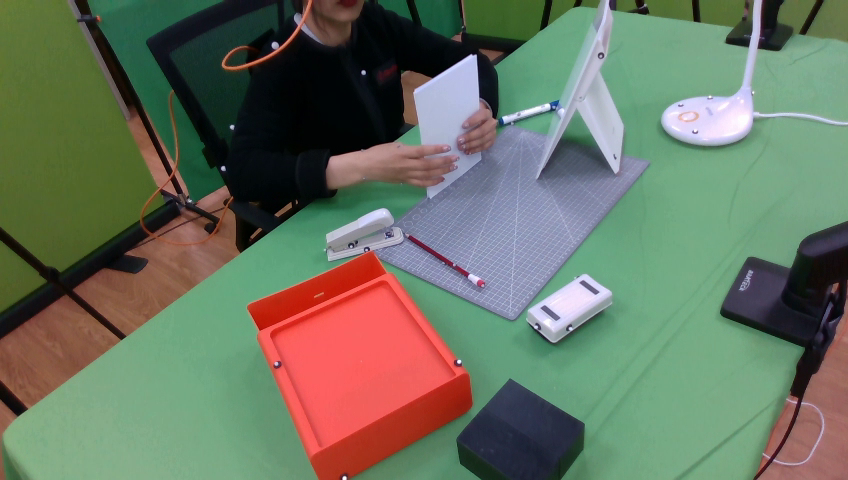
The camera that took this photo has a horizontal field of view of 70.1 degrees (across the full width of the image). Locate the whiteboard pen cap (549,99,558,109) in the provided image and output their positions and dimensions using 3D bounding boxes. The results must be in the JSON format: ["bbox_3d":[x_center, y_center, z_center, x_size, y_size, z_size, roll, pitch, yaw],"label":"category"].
[{"bbox_3d":[0.275,-0.286,1.267,0.033,0.018,0.018,-17,41,-12],"label":"whiteboard pen cap"}]

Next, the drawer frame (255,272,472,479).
[{"bbox_3d":[-0.079,0.161,0.760,0.202,0.083,0.211,-24,43,-18],"label":"drawer frame"}]

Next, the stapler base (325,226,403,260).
[{"bbox_3d":[-0.102,-0.002,0.998,0.131,0.024,0.041,-16,36,-3],"label":"stapler base"}]

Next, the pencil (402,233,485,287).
[{"bbox_3d":[0.026,0.028,0.949,0.012,0.012,0.192,-34,44,-26],"label":"pencil"}]

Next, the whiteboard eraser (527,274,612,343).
[{"bbox_3d":[0.198,0.094,0.820,0.113,0.042,0.055,-29,43,-22],"label":"whiteboard eraser"}]

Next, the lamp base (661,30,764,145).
[{"bbox_3d":[0.535,-0.287,1.096,0.179,0.181,0.159,-10,40,-4],"label":"lamp base"}]

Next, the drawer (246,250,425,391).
[{"bbox_3d":[-0.109,0.129,0.804,0.195,0.073,0.210,-23,42,-18],"label":"drawer"}]

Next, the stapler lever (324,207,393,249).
[{"bbox_3d":[-0.108,-0.021,0.981,0.118,0.040,0.026,-16,36,-2],"label":"stapler lever"}]

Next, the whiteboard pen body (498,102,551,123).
[{"bbox_3d":[0.220,-0.268,1.256,0.141,0.017,0.017,-18,41,-12],"label":"whiteboard pen body"}]

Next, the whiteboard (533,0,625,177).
[{"bbox_3d":[0.321,-0.258,1.049,0.144,0.306,0.217,20,45,4],"label":"whiteboard"}]
